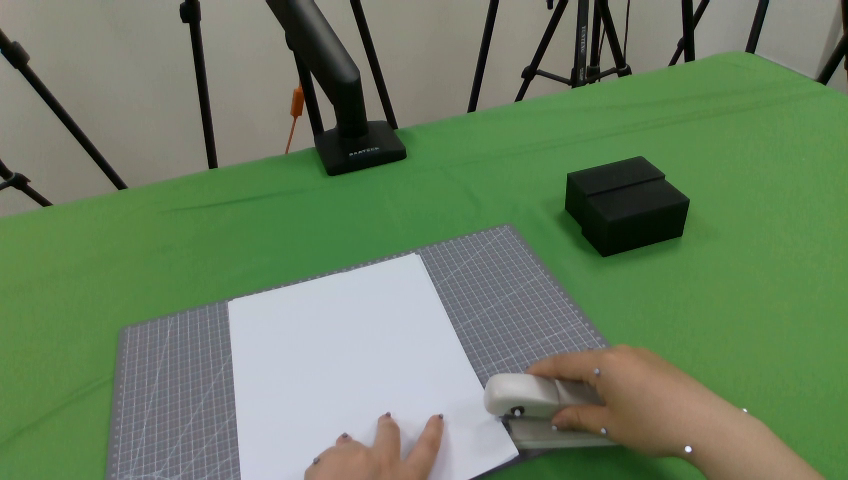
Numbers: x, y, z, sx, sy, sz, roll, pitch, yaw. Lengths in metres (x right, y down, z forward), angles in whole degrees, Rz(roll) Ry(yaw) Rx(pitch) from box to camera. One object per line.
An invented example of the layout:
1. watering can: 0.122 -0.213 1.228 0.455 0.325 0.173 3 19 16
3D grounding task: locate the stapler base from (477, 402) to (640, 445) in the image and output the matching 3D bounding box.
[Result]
1. stapler base: 0.109 0.143 0.497 0.130 0.024 0.041 -2 40 2

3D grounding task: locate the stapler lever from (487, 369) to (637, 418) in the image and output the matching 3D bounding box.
1. stapler lever: 0.109 0.122 0.481 0.118 0.040 0.026 -1 40 2
